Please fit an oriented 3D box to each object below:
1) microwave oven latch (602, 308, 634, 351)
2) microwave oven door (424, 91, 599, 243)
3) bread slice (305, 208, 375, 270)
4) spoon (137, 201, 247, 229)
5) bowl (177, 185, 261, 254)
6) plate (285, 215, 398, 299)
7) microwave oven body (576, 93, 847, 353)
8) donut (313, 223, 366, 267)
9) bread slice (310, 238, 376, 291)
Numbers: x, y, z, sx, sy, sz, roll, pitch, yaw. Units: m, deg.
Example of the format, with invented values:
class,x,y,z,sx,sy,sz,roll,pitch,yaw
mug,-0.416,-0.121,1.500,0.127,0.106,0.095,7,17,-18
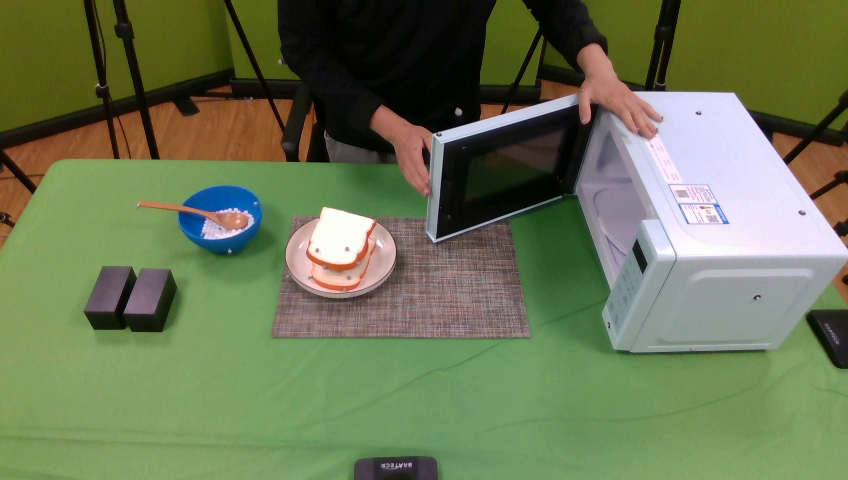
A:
class,x,y,z,sx,sy,sz,roll,pitch,yaw
microwave oven latch,0.332,0.153,1.044,0.030,0.029,0.078,-1,45,-4
microwave oven door,0.169,-0.143,1.178,0.356,0.245,0.039,-20,50,-22
bread slice,-0.154,-0.001,1.095,0.105,0.019,0.131,15,48,1
spoon,-0.431,-0.052,1.135,0.194,0.022,0.041,13,45,-22
bowl,-0.383,-0.027,1.158,0.151,0.077,0.150,2,46,-2
plate,-0.154,0.034,1.141,0.208,0.039,0.206,2,46,-2
microwave oven body,0.475,-0.041,1.109,0.326,0.261,0.438,-1,45,-4
donut,-0.157,0.010,1.120,0.099,0.048,0.098,-1,43,2
bread slice,-0.154,0.039,1.135,0.107,0.018,0.133,7,46,3
